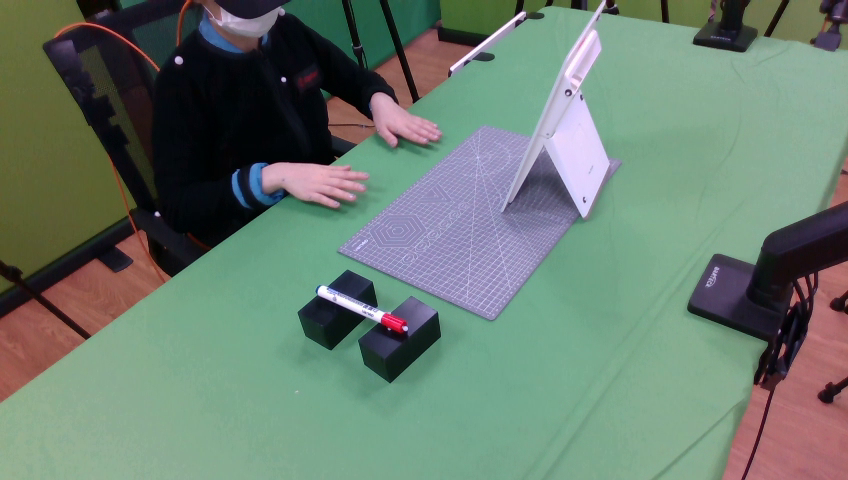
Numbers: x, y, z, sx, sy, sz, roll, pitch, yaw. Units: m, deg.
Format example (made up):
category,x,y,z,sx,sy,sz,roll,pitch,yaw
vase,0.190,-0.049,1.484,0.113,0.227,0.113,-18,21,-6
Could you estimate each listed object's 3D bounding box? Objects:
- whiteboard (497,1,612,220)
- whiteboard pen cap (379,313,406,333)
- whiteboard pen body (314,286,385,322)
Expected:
category,x,y,z,sx,sy,sz,roll,pitch,yaw
whiteboard,0.260,-0.178,0.963,0.143,0.306,0.217,28,49,9
whiteboard pen cap,-0.041,0.106,0.776,0.032,0.017,0.017,18,46,24
whiteboard pen body,-0.089,0.089,0.802,0.139,0.017,0.017,19,47,27
